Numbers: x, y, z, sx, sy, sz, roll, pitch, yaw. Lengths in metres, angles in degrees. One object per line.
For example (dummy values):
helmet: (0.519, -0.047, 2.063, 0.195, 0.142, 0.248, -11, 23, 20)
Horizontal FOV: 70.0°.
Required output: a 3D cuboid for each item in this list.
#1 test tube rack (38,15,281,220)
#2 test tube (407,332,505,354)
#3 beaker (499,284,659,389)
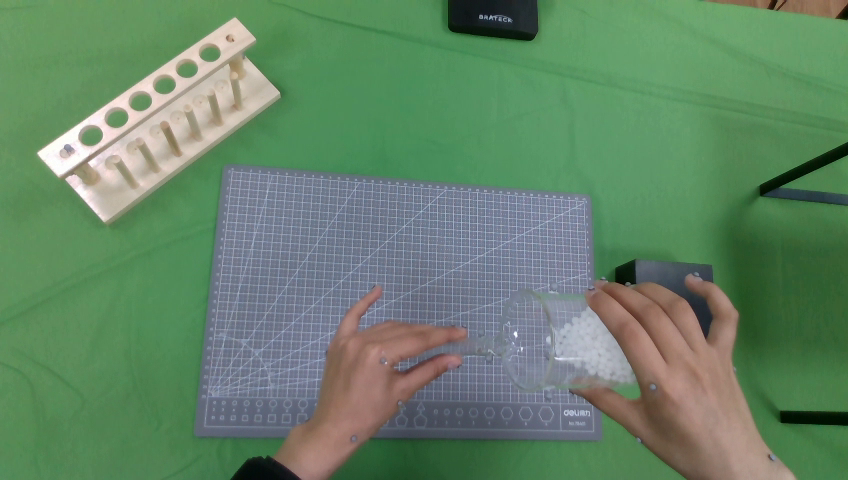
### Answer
test tube rack: (-0.273, -0.132, 0.656, 0.242, 0.085, 0.066, -42, 87, -17)
test tube: (0.023, 0.092, 0.537, 0.017, 0.150, 0.017, 6, 77, -28)
beaker: (0.115, 0.074, 0.456, 0.101, 0.084, 0.073, 4, 73, -21)
